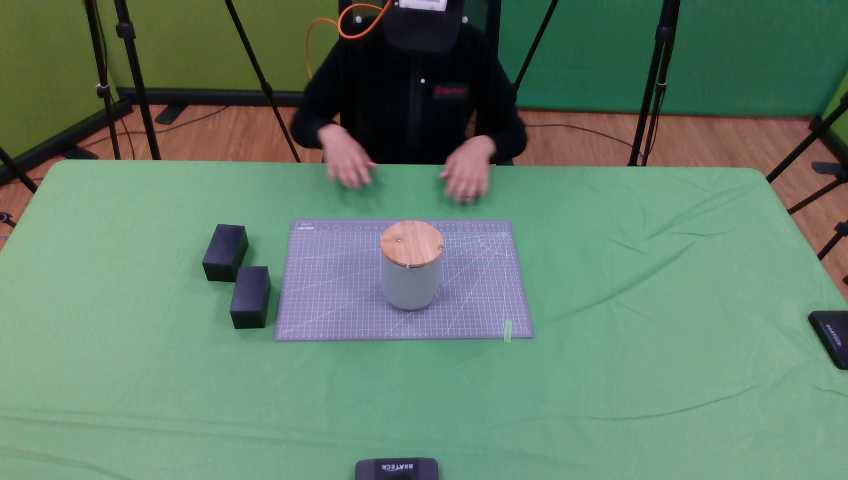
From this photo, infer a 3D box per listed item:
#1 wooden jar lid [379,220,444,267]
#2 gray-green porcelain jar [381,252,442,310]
[{"bbox_3d":[-0.021,0.009,1.021,0.108,0.021,0.107,3,45,-2],"label":"wooden jar lid"},{"bbox_3d":[-0.023,0.053,1.068,0.106,0.127,0.105,2,46,-2],"label":"gray-green porcelain jar"}]
